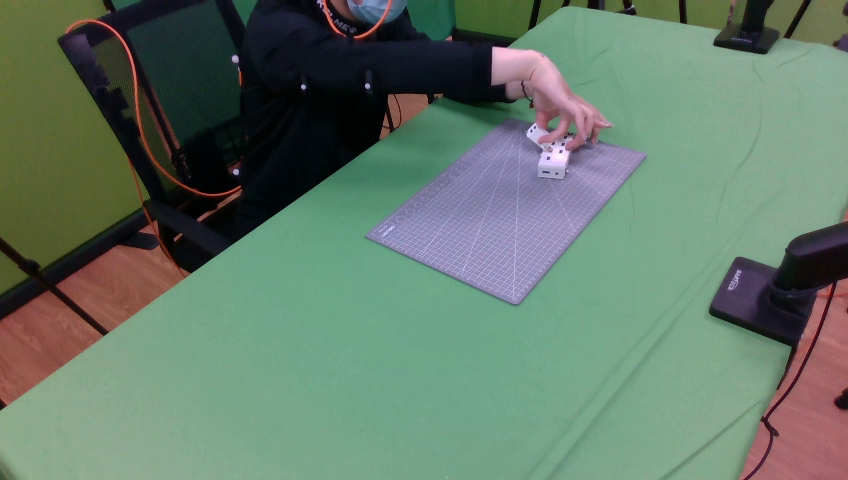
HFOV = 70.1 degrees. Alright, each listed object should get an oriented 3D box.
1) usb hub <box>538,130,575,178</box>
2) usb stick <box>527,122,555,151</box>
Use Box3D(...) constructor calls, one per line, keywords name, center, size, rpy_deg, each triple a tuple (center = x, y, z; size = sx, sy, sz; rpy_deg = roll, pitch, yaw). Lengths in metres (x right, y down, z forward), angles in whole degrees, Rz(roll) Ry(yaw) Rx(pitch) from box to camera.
Box3D(name="usb hub", center=(0.245, -0.159, 1.113), size=(0.049, 0.025, 0.125), rpy_deg=(8, 44, 18))
Box3D(name="usb stick", center=(0.215, -0.184, 1.088), size=(0.027, 0.059, 0.021), rpy_deg=(-44, 29, 24))
